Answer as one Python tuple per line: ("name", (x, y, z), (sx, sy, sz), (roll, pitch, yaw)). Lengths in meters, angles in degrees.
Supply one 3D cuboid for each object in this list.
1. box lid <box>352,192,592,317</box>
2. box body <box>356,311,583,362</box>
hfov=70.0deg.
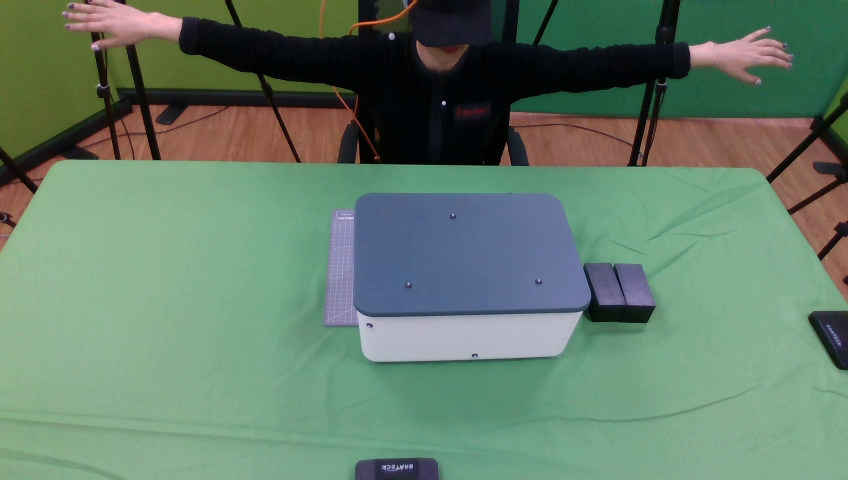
("box lid", (0.071, 0.014, 0.986), (0.372, 0.015, 0.261), (-1, 47, -5))
("box body", (0.065, 0.066, 1.040), (0.364, 0.161, 0.252), (-1, 46, -5))
